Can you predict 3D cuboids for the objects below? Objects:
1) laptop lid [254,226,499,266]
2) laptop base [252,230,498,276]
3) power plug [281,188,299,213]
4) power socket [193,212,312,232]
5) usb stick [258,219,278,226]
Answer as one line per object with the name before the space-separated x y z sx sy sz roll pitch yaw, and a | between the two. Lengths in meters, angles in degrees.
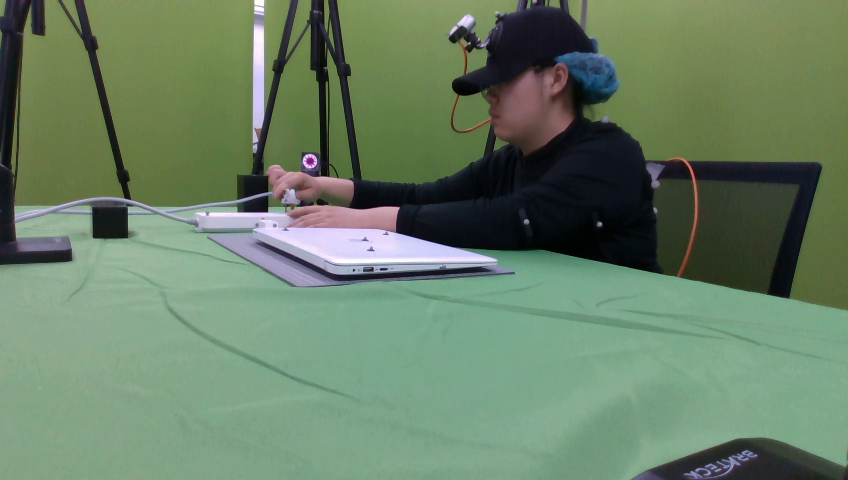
laptop lid | -0.086 0.005 0.876 0.243 0.013 0.355 1 7 -30
laptop base | -0.089 0.016 0.876 0.237 0.023 0.352 2 6 -32
power plug | -0.271 -0.078 1.220 0.035 0.052 0.072 4 -3 -15
power socket | -0.322 -0.037 1.151 0.228 0.032 0.072 -2 8 -34
usb stick | -0.255 -0.019 0.996 0.021 0.027 0.059 -2 12 -29
